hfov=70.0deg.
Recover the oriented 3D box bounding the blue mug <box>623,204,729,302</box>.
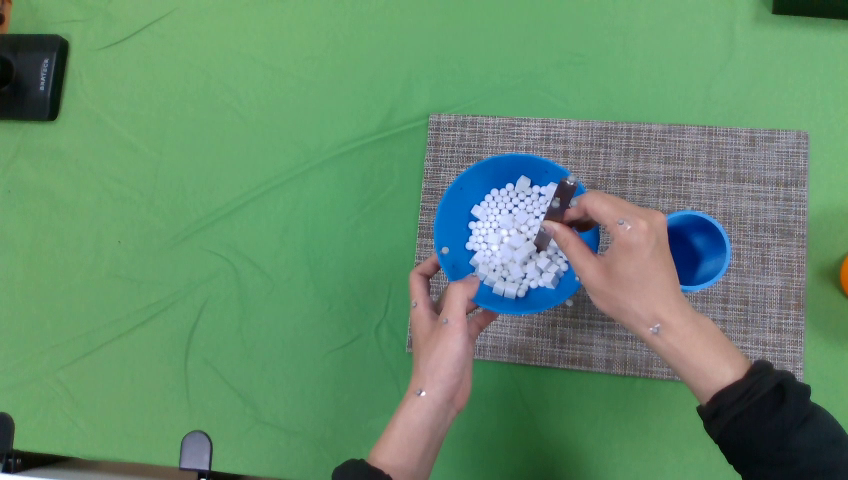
[{"bbox_3d":[0.260,0.024,0.659,0.082,0.106,0.116,43,90,11],"label":"blue mug"}]

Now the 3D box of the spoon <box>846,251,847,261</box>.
[{"bbox_3d":[0.534,0.035,0.607,0.022,0.192,0.041,29,85,-34],"label":"spoon"}]

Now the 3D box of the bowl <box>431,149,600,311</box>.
[{"bbox_3d":[0.085,-0.003,0.579,0.151,0.077,0.151,-1,80,3],"label":"bowl"}]

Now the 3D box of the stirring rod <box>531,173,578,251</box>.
[{"bbox_3d":[0.106,-0.018,0.508,0.014,0.177,0.006,18,75,9],"label":"stirring rod"}]
